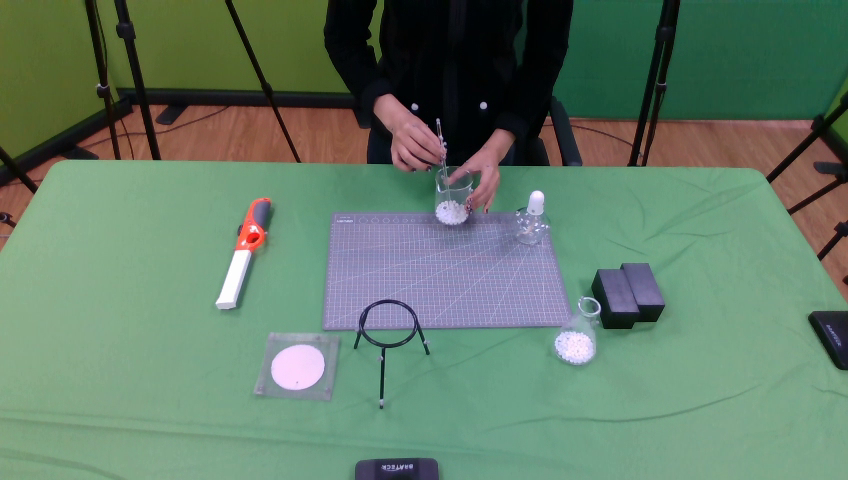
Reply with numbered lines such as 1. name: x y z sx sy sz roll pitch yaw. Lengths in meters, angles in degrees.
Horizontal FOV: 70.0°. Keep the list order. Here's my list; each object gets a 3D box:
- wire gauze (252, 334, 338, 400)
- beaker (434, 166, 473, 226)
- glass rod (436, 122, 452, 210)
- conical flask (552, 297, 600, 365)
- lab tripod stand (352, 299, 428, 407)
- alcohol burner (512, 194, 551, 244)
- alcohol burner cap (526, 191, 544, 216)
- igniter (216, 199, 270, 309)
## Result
1. wire gauze: -0.209 0.204 0.996 0.125 0.011 0.120 3 45 1
2. beaker: 0.054 -0.083 1.194 0.073 0.101 0.084 28 50 25
3. glass rod: 0.039 -0.134 1.134 0.008 0.201 0.008 -6 41 5
4. conical flask: 0.261 0.147 1.009 0.075 0.122 0.075 2 46 -2
5. lab tripod stand: -0.056 0.166 0.958 0.148 0.132 0.147 3 44 -2
6. alcohol burner: 0.215 -0.048 1.196 0.078 0.119 0.077 4 46 -4
7. alcohol burner cap: 0.216 -0.073 1.170 0.034 0.048 0.033 0 42 1
8. igniter: -0.342 0.016 1.153 0.057 0.025 0.275 -3 45 7
